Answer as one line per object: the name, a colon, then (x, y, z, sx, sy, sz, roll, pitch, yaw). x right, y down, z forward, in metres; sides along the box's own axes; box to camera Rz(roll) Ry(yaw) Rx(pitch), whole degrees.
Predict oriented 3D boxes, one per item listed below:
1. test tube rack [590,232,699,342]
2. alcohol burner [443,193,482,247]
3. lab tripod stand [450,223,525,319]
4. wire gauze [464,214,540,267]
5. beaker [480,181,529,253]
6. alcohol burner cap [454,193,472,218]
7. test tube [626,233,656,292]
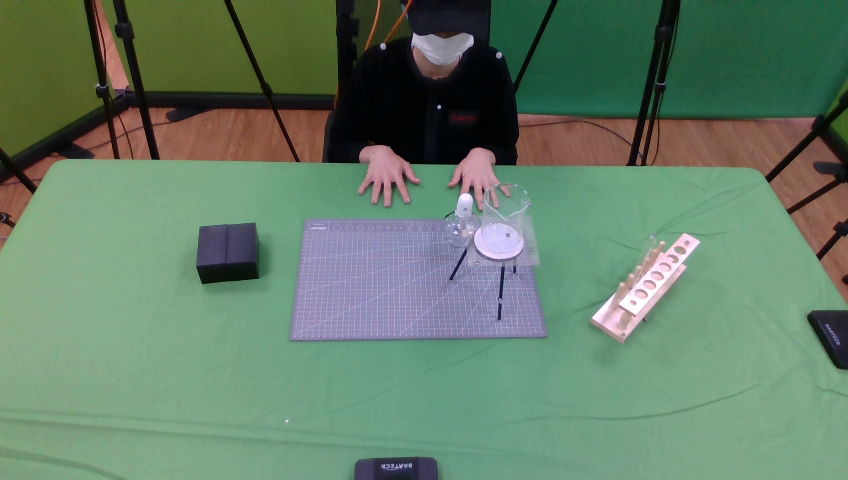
test tube rack: (0.407, 0.074, 1.112, 0.066, 0.085, 0.242, 35, 53, 26)
alcohol burner: (0.075, -0.044, 1.177, 0.078, 0.120, 0.077, 1, 44, -1)
lab tripod stand: (0.120, 0.046, 1.080, 0.148, 0.132, 0.147, 1, 47, -1)
wire gauze: (0.131, -0.001, 1.035, 0.121, 0.011, 0.124, 1, 44, -2)
beaker: (0.130, -0.033, 0.998, 0.074, 0.101, 0.083, 5, 47, 4)
alcohol burner cap: (0.076, -0.068, 1.151, 0.034, 0.048, 0.033, 4, 46, -3)
test tube: (0.384, 0.042, 1.079, 0.017, 0.151, 0.017, 1, 47, -1)
